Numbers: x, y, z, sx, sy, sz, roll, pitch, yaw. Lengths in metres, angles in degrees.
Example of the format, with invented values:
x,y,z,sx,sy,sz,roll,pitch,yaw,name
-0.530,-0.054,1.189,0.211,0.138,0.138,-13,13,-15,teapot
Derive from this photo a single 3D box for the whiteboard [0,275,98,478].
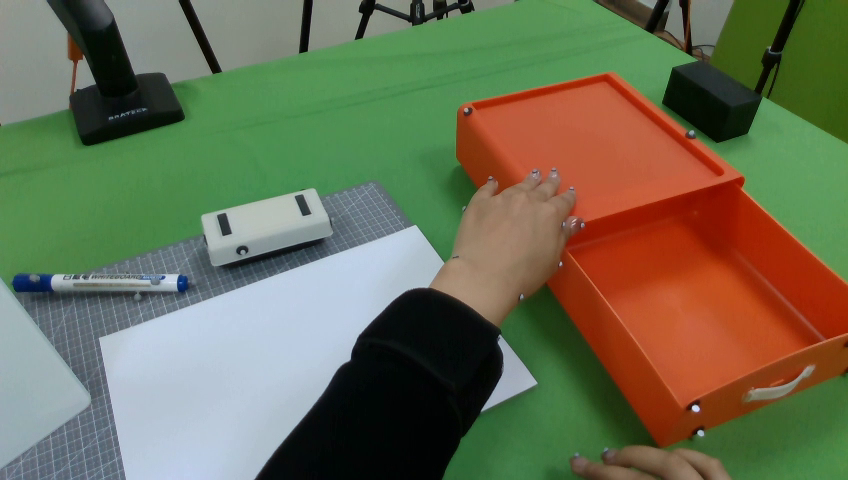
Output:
x,y,z,sx,sy,sz,roll,pitch,yaw,name
-0.406,0.043,0.376,0.142,0.308,0.217,15,43,43,whiteboard

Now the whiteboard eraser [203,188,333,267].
x,y,z,sx,sy,sz,roll,pitch,yaw,name
-0.148,-0.010,0.577,0.113,0.042,0.055,-17,45,-17,whiteboard eraser

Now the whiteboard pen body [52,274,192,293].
x,y,z,sx,sy,sz,roll,pitch,yaw,name
-0.281,0.038,0.540,0.141,0.017,0.017,0,44,-5,whiteboard pen body

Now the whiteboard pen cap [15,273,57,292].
x,y,z,sx,sy,sz,roll,pitch,yaw,name
-0.340,0.037,0.535,0.033,0.018,0.018,0,44,-7,whiteboard pen cap

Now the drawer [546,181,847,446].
x,y,z,sx,sy,sz,roll,pitch,yaw,name
0.225,0.039,0.507,0.195,0.074,0.209,-16,47,-14,drawer

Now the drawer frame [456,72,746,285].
x,y,z,sx,sy,sz,roll,pitch,yaw,name
0.164,-0.072,0.617,0.202,0.083,0.211,-16,46,-15,drawer frame
